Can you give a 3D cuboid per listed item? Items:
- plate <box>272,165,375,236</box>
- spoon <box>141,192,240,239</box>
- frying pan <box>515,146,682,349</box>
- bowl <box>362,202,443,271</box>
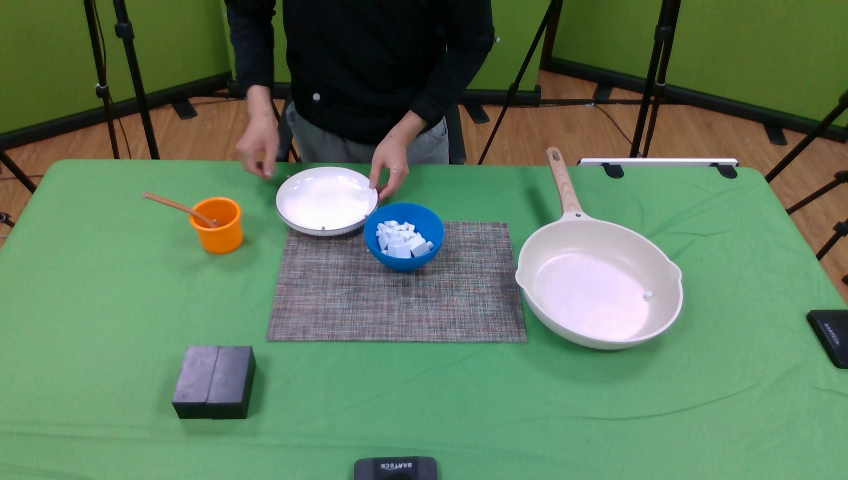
[{"bbox_3d":[-0.204,-0.076,1.240,0.208,0.039,0.206,2,44,-2],"label":"plate"},{"bbox_3d":[-0.428,-0.048,1.123,0.021,0.195,0.041,-39,44,20],"label":"spoon"},{"bbox_3d":[0.302,-0.004,1.168,0.307,0.103,0.484,-2,55,-7],"label":"frying pan"},{"bbox_3d":[-0.041,0.006,1.144,0.151,0.077,0.150,2,46,-2],"label":"bowl"}]
